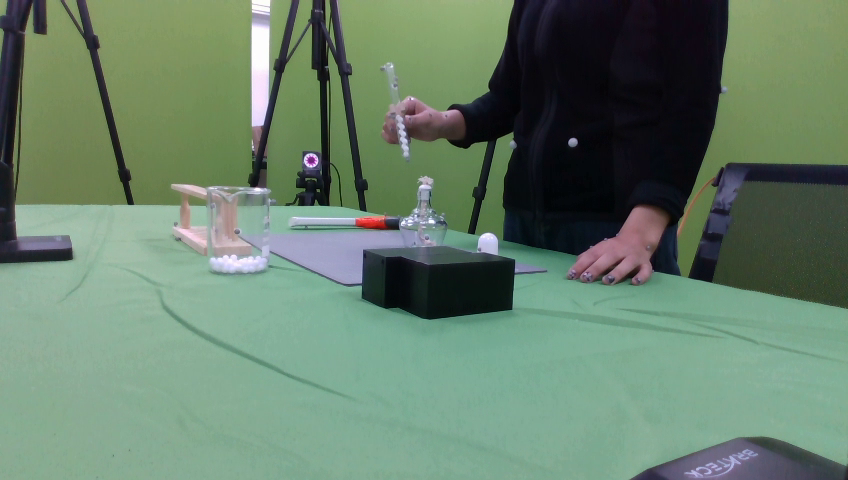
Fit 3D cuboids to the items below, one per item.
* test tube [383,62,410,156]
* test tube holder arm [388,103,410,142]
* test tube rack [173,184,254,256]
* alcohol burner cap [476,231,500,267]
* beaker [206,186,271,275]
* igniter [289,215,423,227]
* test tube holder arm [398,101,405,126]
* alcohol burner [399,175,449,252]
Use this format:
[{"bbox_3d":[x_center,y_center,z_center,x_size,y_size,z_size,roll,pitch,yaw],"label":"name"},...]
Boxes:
[{"bbox_3d":[-0.041,-0.202,0.928,0.017,0.150,0.017,-11,-7,-1],"label":"test tube"},{"bbox_3d":[-0.039,-0.191,0.995,0.013,0.015,0.178,-8,-6,4],"label":"test tube holder arm"},{"bbox_3d":[-0.328,-0.036,0.927,0.067,0.085,0.241,-2,9,-32],"label":"test tube rack"},{"bbox_3d":[0.088,0.012,0.830,0.034,0.048,0.034,2,7,0],"label":"alcohol burner cap"},{"bbox_3d":[-0.220,-0.012,0.717,0.074,0.100,0.084,2,8,-3],"label":"beaker"},{"bbox_3d":[-0.133,-0.038,1.232,0.278,0.025,0.057,-1,-2,-25],"label":"igniter"},{"bbox_3d":[-0.036,-0.197,0.950,0.010,0.015,0.088,-8,-6,-3],"label":"test tube holder arm"},{"bbox_3d":[0.000,-0.041,0.937,0.078,0.119,0.078,0,7,0],"label":"alcohol burner"}]
